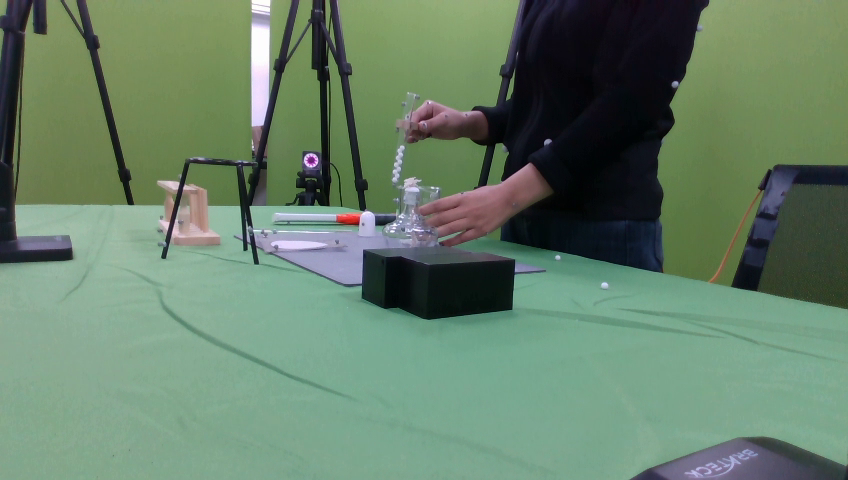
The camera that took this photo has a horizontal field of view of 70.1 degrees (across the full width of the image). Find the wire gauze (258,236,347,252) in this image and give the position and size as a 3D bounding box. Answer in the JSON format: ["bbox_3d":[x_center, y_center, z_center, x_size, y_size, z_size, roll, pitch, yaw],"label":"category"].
[{"bbox_3d":[-0.189,0.005,0.931,0.122,0.011,0.124,1,7,-21],"label":"wire gauze"}]

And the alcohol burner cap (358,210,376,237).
[{"bbox_3d":[-0.104,-0.030,1.098,0.034,0.048,0.034,2,7,0],"label":"alcohol burner cap"}]

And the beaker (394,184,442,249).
[{"bbox_3d":[-0.008,-0.038,0.964,0.074,0.100,0.083,-4,10,-38],"label":"beaker"}]

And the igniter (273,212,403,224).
[{"bbox_3d":[-0.179,-0.048,1.290,0.278,0.025,0.057,-1,-2,-24],"label":"igniter"}]

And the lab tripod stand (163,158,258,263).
[{"bbox_3d":[-0.265,-0.041,0.802,0.148,0.131,0.148,4,6,0],"label":"lab tripod stand"}]

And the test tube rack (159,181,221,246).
[{"bbox_3d":[-0.395,-0.050,1.010,0.067,0.085,0.241,-2,8,-28],"label":"test tube rack"}]

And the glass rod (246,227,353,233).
[{"bbox_3d":[-0.224,-0.017,1.109,0.201,0.008,0.008,1,7,-27],"label":"glass rod"}]

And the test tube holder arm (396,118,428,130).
[{"bbox_3d":[-0.019,-0.202,1.058,0.013,0.015,0.179,19,12,10],"label":"test tube holder arm"}]

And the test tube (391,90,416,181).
[{"bbox_3d":[-0.034,-0.170,0.995,0.017,0.150,0.017,11,9,-1],"label":"test tube"}]

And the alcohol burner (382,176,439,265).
[{"bbox_3d":[-0.018,-0.027,0.818,0.078,0.119,0.078,3,10,0],"label":"alcohol burner"}]

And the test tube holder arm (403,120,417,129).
[{"bbox_3d":[-0.022,-0.193,1.014,0.010,0.015,0.088,17,12,3],"label":"test tube holder arm"}]
